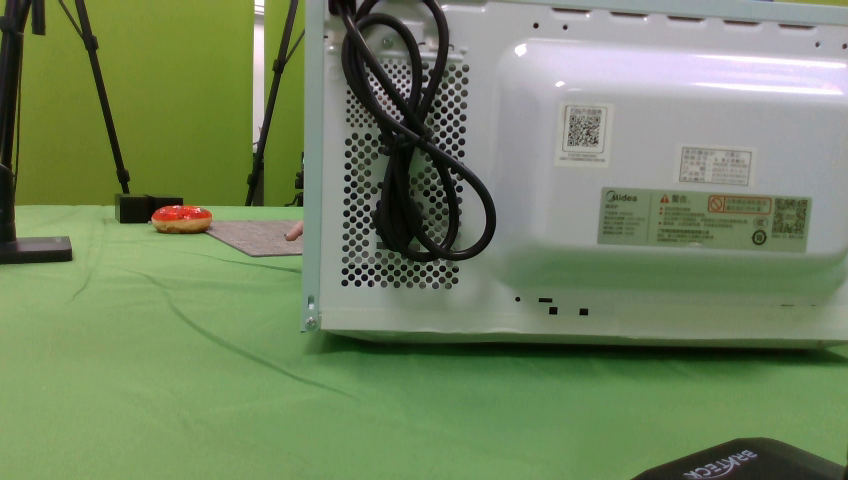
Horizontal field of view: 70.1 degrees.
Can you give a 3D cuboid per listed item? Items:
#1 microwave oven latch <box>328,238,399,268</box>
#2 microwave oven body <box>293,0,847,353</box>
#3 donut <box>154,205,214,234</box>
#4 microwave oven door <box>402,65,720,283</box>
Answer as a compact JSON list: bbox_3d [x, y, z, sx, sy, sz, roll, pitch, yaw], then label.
[{"bbox_3d":[-0.069,0.015,0.694,0.079,0.029,0.030,3,7,-3],"label":"microwave oven latch"},{"bbox_3d":[0.122,-0.055,0.550,0.442,0.260,0.325,3,7,-5],"label":"microwave oven body"},{"bbox_3d":[-0.425,-0.037,1.074,0.099,0.048,0.099,2,12,0],"label":"donut"},{"bbox_3d":[0.156,-0.080,0.724,0.356,0.243,0.039,3,8,4],"label":"microwave oven door"}]
